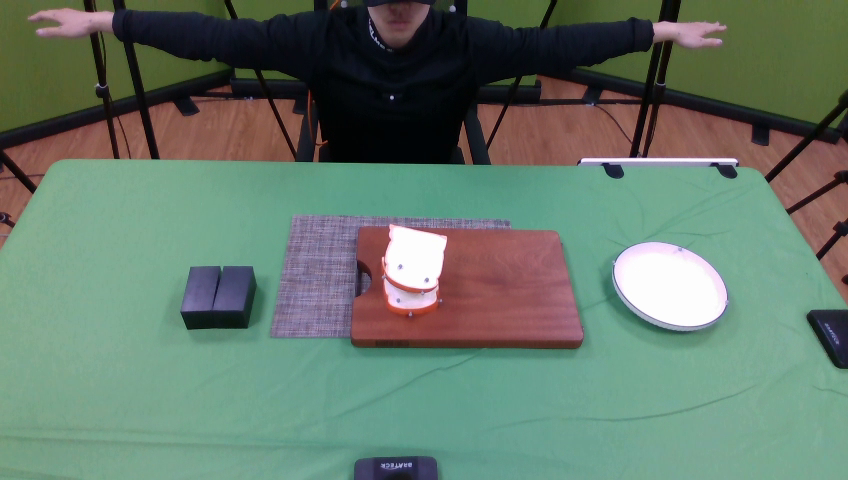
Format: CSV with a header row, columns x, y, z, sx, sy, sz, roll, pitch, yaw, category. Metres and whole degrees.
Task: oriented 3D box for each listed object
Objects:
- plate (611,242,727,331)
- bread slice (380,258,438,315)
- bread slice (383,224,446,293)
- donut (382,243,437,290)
x,y,z,sx,sy,sz,roll,pitch,yaw,category
0.455,0.090,1.138,0.209,0.038,0.208,3,45,-2,plate
-0.024,0.079,1.087,0.105,0.019,0.130,-2,45,-5,bread slice
-0.017,0.034,1.050,0.107,0.018,0.133,11,48,-7,bread slice
-0.026,0.046,1.077,0.099,0.048,0.098,4,45,-3,donut
